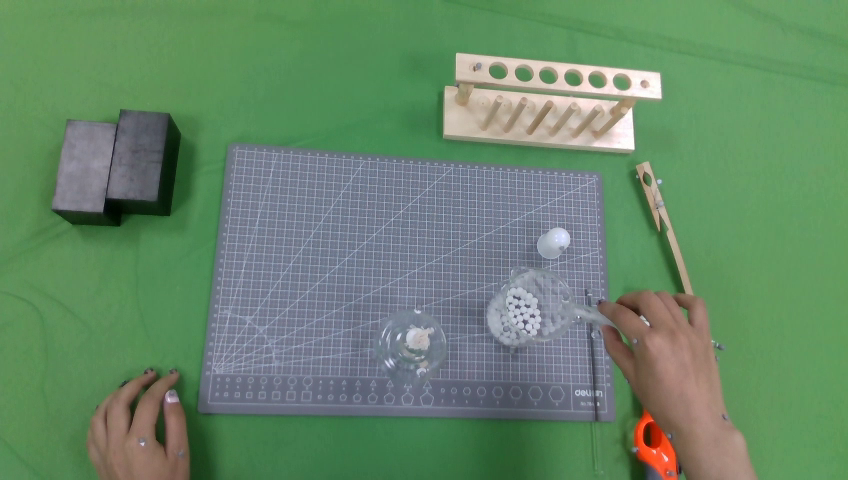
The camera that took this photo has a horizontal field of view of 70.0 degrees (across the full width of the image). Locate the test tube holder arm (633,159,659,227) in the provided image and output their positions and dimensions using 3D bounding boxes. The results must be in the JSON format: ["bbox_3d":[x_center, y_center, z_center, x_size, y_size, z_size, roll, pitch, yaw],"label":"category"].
[{"bbox_3d":[0.279,-0.058,0.754,0.010,0.015,0.087,-21,79,22],"label":"test tube holder arm"}]

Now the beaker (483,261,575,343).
[{"bbox_3d":[0.105,0.069,0.649,0.074,0.100,0.083,-29,81,-15],"label":"beaker"}]

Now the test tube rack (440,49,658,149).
[{"bbox_3d":[0.146,-0.165,0.724,0.243,0.085,0.066,3,75,-8],"label":"test tube rack"}]

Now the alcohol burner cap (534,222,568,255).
[{"bbox_3d":[0.151,-0.004,0.704,0.034,0.048,0.033,2,76,-8],"label":"alcohol burner cap"}]

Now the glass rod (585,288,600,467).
[{"bbox_3d":[0.190,0.153,0.688,0.008,0.008,0.198,3,75,-8],"label":"glass rod"}]

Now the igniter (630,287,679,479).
[{"bbox_3d":[0.256,0.190,0.683,0.057,0.025,0.275,6,75,-17],"label":"igniter"}]

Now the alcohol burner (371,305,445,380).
[{"bbox_3d":[-0.014,0.101,0.616,0.078,0.119,0.077,2,73,-7],"label":"alcohol burner"}]

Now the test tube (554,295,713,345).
[{"bbox_3d":[0.200,0.077,0.581,0.150,0.017,0.017,13,74,7],"label":"test tube"}]

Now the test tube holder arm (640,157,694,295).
[{"bbox_3d":[0.297,-0.018,0.744,0.013,0.015,0.177,-22,79,22],"label":"test tube holder arm"}]
